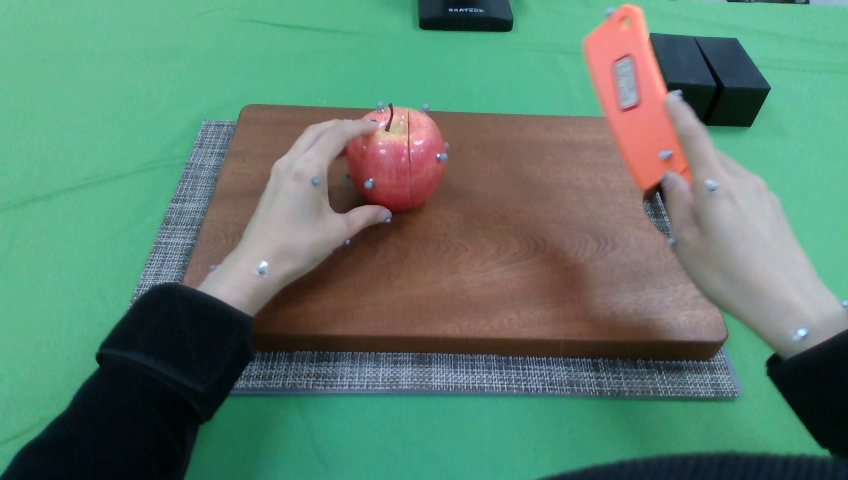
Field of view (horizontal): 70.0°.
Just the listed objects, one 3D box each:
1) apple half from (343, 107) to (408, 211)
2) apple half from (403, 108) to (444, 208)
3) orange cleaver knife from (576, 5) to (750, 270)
[{"bbox_3d":[-0.039,-0.065,0.494,0.053,0.075,0.080,-2,52,-1],"label":"apple half"},{"bbox_3d":[0.000,-0.066,0.496,0.033,0.082,0.080,-2,48,-2],"label":"apple half"},{"bbox_3d":[0.157,-0.069,0.423,0.012,0.077,0.210,-14,71,-17],"label":"orange cleaver knife"}]
